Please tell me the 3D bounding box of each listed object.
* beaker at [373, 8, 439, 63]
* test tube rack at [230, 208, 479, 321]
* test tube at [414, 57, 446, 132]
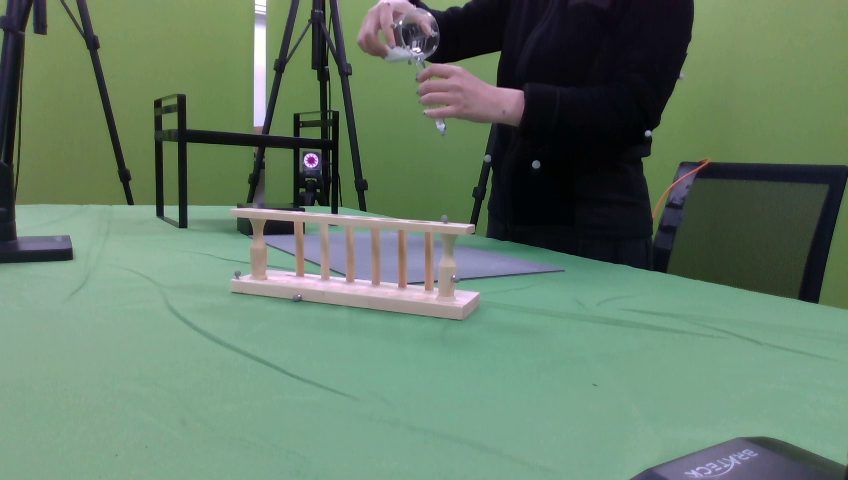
[{"bbox_3d":[-0.033,-0.333,1.004,0.074,0.084,0.100,-5,11,-33],"label":"beaker"},{"bbox_3d":[-0.069,0.017,0.598,0.242,0.085,0.067,5,8,18],"label":"test tube rack"},{"bbox_3d":[0.009,-0.227,0.937,0.017,0.149,0.017,-13,-28,-7],"label":"test tube"}]
